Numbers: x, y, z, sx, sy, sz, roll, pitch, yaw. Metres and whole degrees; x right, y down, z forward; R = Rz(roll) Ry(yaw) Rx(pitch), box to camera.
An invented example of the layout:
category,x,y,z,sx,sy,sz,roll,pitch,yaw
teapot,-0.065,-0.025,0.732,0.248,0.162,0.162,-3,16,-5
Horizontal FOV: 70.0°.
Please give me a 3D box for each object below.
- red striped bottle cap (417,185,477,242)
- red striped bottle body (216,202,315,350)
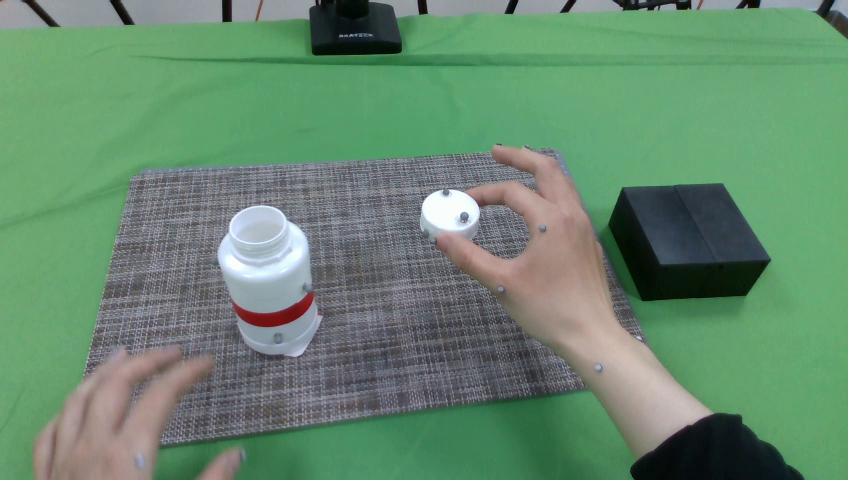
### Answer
category,x,y,z,sx,sy,sz,roll,pitch,yaw
red striped bottle cap,0.017,-0.020,0.447,0.044,0.018,0.044,3,49,-4
red striped bottle body,-0.119,0.027,0.459,0.063,0.121,0.062,2,48,-2
